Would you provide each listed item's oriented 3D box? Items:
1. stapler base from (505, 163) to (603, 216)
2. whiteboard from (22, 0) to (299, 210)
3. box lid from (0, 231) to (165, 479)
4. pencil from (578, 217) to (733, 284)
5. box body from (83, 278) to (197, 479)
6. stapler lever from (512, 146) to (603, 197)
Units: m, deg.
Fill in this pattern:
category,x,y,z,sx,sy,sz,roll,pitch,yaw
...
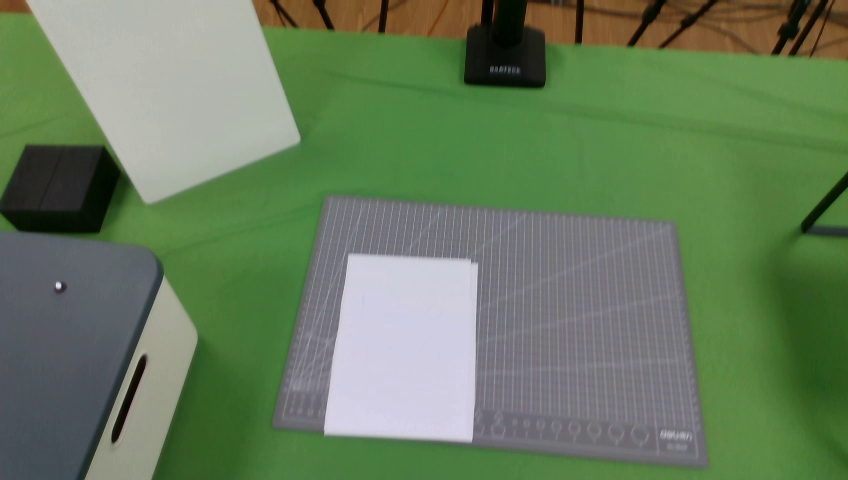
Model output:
category,x,y,z,sx,sy,sz,roll,pitch,yaw
stapler base,0.171,-0.077,0.788,0.130,0.024,0.041,29,61,16
whiteboard,-0.322,-0.234,0.759,0.217,0.308,0.142,-26,42,-15
box lid,-0.436,0.100,0.509,0.371,0.015,0.261,6,57,3
pencil,0.280,0.010,0.744,0.193,0.012,0.012,26,61,18
box body,-0.434,0.141,0.572,0.364,0.162,0.252,6,58,3
stapler lever,0.170,-0.091,0.766,0.117,0.040,0.027,28,61,17
